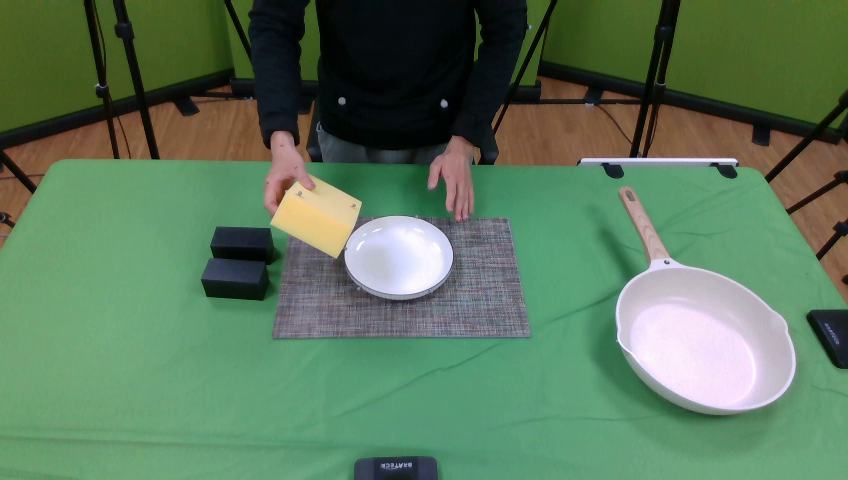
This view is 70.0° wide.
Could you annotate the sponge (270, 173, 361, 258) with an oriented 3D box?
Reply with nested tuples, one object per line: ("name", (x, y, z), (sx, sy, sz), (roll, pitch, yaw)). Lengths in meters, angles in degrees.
("sponge", (-0.179, -0.048, 1.044), (0.118, 0.061, 0.206), (28, 12, -9))

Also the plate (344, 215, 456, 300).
("plate", (-0.045, 0.036, 1.146), (0.208, 0.039, 0.206), (2, 46, -2))

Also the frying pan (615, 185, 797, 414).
("frying pan", (0.450, 0.087, 1.092), (0.307, 0.103, 0.484), (-4, 55, -10))
